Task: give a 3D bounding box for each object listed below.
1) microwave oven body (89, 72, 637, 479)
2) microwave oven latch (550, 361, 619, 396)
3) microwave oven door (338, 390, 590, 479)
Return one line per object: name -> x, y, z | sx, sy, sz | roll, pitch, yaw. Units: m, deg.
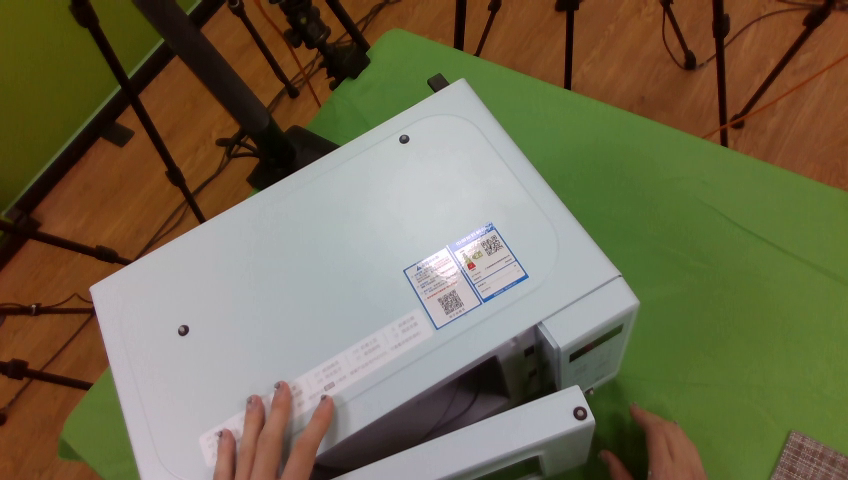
microwave oven body -> -0.059, 0.088, 0.661 | 0.442, 0.262, 0.323 | -31, 62, -3
microwave oven latch -> 0.182, 0.151, 0.688 | 0.079, 0.030, 0.030 | -29, 62, -2
microwave oven door -> -0.017, 0.239, 0.572 | 0.356, 0.246, 0.039 | -21, 60, 1
